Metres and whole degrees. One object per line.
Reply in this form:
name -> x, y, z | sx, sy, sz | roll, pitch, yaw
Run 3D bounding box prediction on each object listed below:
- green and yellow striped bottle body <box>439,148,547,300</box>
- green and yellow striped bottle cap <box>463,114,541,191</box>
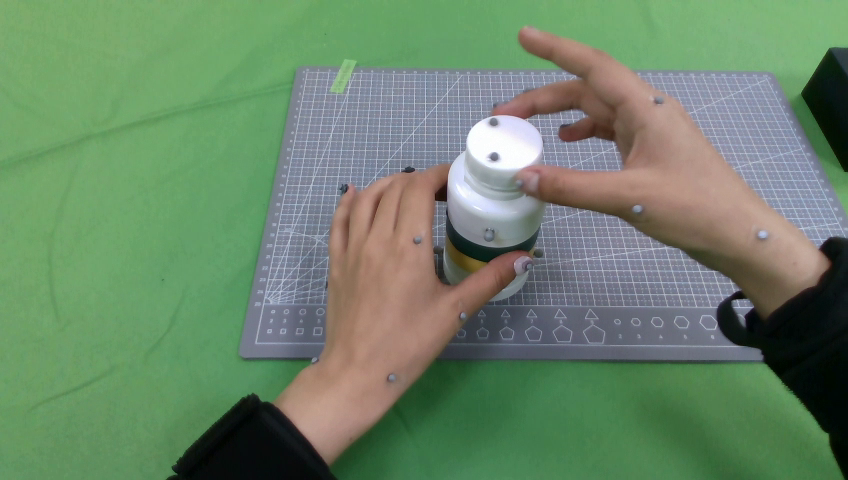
green and yellow striped bottle body -> 0.042, -0.017, 0.391 | 0.063, 0.120, 0.062 | 0, 54, 0
green and yellow striped bottle cap -> 0.045, -0.050, 0.344 | 0.045, 0.020, 0.045 | -2, 56, 3
